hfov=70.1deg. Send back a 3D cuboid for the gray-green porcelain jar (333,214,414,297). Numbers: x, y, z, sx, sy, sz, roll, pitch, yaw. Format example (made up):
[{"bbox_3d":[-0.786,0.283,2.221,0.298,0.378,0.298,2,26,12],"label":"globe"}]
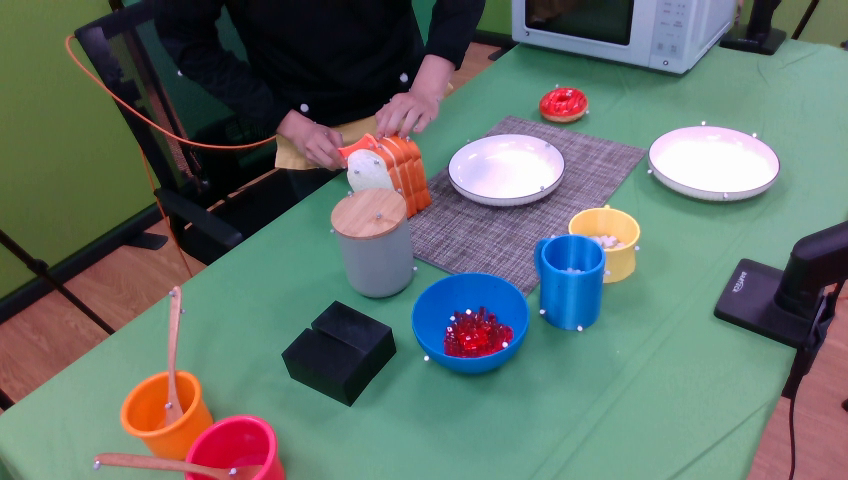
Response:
[{"bbox_3d":[-0.071,0.012,0.887,0.106,0.127,0.105,-4,41,4],"label":"gray-green porcelain jar"}]

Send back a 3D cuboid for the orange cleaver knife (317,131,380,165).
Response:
[{"bbox_3d":[-0.127,-0.145,1.062,0.012,0.077,0.209,-36,21,-30],"label":"orange cleaver knife"}]

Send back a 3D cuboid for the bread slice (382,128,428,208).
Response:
[{"bbox_3d":[-0.035,-0.126,1.043,0.018,0.135,0.106,-31,49,-26],"label":"bread slice"}]

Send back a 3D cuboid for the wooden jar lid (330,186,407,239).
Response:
[{"bbox_3d":[-0.077,-0.035,0.847,0.108,0.021,0.108,-6,42,5],"label":"wooden jar lid"}]

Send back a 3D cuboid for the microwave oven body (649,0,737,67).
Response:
[{"bbox_3d":[0.475,-0.602,1.411,0.438,0.261,0.327,23,50,32],"label":"microwave oven body"}]

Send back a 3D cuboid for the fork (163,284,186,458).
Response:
[{"bbox_3d":[-0.302,0.157,0.733,0.028,0.019,0.207,-3,84,16],"label":"fork"}]

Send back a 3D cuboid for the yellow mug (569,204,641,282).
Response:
[{"bbox_3d":[0.268,-0.005,0.904,0.099,0.064,0.130,7,41,15],"label":"yellow mug"}]

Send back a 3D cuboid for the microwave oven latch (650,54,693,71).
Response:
[{"bbox_3d":[0.531,-0.386,1.301,0.078,0.029,0.030,26,51,33],"label":"microwave oven latch"}]

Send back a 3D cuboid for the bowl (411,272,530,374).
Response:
[{"bbox_3d":[0.061,0.120,0.780,0.151,0.077,0.150,-4,40,4],"label":"bowl"}]

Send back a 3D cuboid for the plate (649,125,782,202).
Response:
[{"bbox_3d":[0.493,-0.127,1.036,0.207,0.039,0.206,-4,41,4],"label":"plate"}]

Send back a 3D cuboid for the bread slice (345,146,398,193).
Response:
[{"bbox_3d":[-0.090,-0.092,1.009,0.104,0.132,0.019,10,26,31],"label":"bread slice"}]

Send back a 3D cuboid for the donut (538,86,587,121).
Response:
[{"bbox_3d":[0.283,-0.280,1.239,0.099,0.048,0.098,-5,42,5],"label":"donut"}]

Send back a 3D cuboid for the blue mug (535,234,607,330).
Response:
[{"bbox_3d":[0.191,0.048,0.824,0.082,0.106,0.115,-26,44,-20],"label":"blue mug"}]

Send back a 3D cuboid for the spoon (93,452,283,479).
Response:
[{"bbox_3d":[-0.240,0.239,0.632,0.195,0.021,0.041,26,33,-32],"label":"spoon"}]

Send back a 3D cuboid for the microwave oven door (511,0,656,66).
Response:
[{"bbox_3d":[0.351,-0.539,1.349,0.353,0.245,0.039,24,50,31],"label":"microwave oven door"}]

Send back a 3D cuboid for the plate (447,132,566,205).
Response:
[{"bbox_3d":[0.146,-0.124,1.076,0.209,0.038,0.208,-3,41,3],"label":"plate"}]
